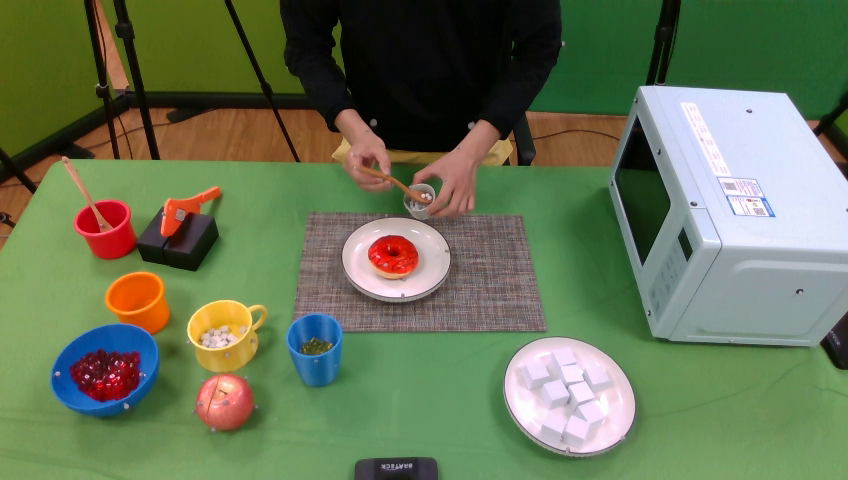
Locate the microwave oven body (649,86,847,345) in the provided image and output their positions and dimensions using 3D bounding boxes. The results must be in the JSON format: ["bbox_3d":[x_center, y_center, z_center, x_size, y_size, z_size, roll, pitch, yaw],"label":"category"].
[{"bbox_3d":[0.568,-0.053,1.118,0.326,0.261,0.439,2,45,-1],"label":"microwave oven body"}]

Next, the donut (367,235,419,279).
[{"bbox_3d":[-0.057,0.032,1.132,0.099,0.048,0.098,3,45,-3],"label":"donut"}]

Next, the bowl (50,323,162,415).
[{"bbox_3d":[-0.472,0.209,0.924,0.151,0.077,0.150,3,45,-2],"label":"bowl"}]

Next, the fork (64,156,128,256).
[{"bbox_3d":[-0.614,-0.064,1.129,0.028,0.018,0.207,-30,97,-16],"label":"fork"}]

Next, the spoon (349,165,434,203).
[{"bbox_3d":[-0.054,-0.100,1.065,0.195,0.021,0.041,22,24,-43],"label":"spoon"}]

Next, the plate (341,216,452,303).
[{"bbox_3d":[-0.052,0.039,1.140,0.209,0.038,0.208,2,46,-2],"label":"plate"}]

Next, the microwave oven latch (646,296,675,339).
[{"bbox_3d":[0.412,0.134,1.061,0.030,0.029,0.078,4,45,1],"label":"microwave oven latch"}]

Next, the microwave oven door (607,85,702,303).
[{"bbox_3d":[0.423,-0.094,1.141,0.039,0.245,0.353,2,46,-1],"label":"microwave oven door"}]

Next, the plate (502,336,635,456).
[{"bbox_3d":[0.225,0.248,0.963,0.208,0.039,0.206,2,46,-2],"label":"plate"}]

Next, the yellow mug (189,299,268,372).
[{"bbox_3d":[-0.316,0.148,1.002,0.131,0.064,0.099,-32,56,-31],"label":"yellow mug"}]

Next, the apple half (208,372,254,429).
[{"bbox_3d":[-0.283,0.244,0.908,0.053,0.075,0.080,7,42,-1],"label":"apple half"}]

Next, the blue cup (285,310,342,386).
[{"bbox_3d":[-0.170,0.179,0.958,0.093,0.101,0.092,2,44,-1],"label":"blue cup"}]

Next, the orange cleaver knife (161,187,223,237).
[{"bbox_3d":[-0.448,-0.058,1.180,0.012,0.077,0.211,13,17,6],"label":"orange cleaver knife"}]

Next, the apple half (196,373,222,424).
[{"bbox_3d":[-0.322,0.239,0.906,0.033,0.081,0.081,7,46,0],"label":"apple half"}]

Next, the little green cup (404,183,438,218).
[{"bbox_3d":[-0.004,-0.071,1.124,0.061,0.039,0.061,-7,65,14],"label":"little green cup"}]
